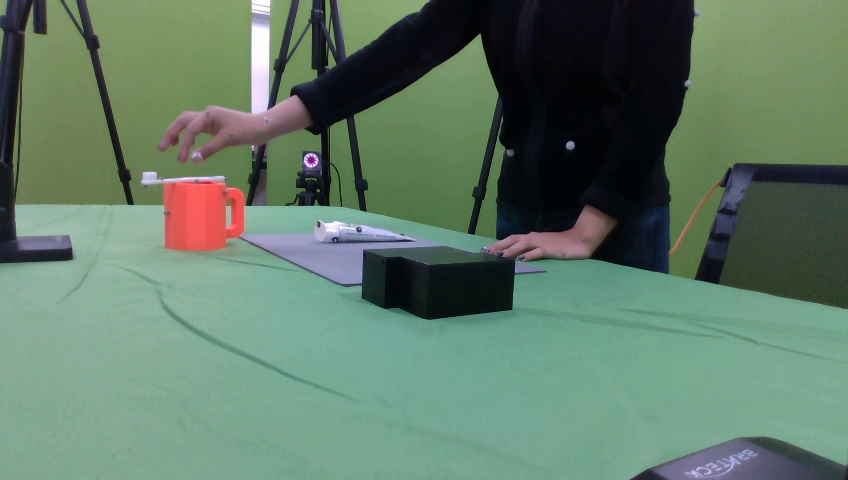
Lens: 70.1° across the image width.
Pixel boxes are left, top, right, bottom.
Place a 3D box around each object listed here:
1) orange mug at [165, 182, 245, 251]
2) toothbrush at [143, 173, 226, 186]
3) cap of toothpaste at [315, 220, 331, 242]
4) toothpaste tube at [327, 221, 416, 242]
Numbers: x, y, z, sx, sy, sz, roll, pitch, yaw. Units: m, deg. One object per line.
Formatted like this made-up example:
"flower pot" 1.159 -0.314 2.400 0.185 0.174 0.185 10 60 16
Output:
"orange mug" -0.326 -0.040 0.911 0.083 0.101 0.127 8 13 37
"toothbrush" -0.342 -0.089 0.878 0.014 0.016 0.182 2 7 15
"cap of toothpaste" -0.164 -0.015 0.982 0.011 0.037 0.037 -9 12 -43
"toothpaste tube" -0.095 -0.012 1.026 0.166 0.034 0.055 2 13 -33
